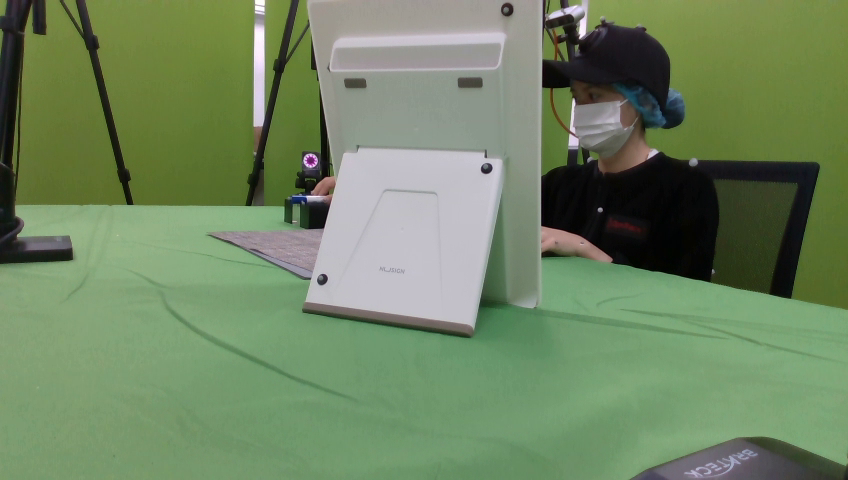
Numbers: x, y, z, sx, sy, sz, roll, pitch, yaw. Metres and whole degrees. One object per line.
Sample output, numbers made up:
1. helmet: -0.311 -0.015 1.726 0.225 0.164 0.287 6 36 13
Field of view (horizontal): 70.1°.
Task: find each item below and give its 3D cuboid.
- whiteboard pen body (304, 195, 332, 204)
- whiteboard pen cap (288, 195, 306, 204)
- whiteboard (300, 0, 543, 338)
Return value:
1. whiteboard pen body: -0.199 -0.082 1.222 0.141 0.017 0.017 -6 11 -41
2. whiteboard pen cap: -0.247 -0.080 1.184 0.033 0.018 0.018 -6 11 -38
3. whiteboard: -0.020 -0.050 0.523 0.216 0.305 0.144 6 27 22
